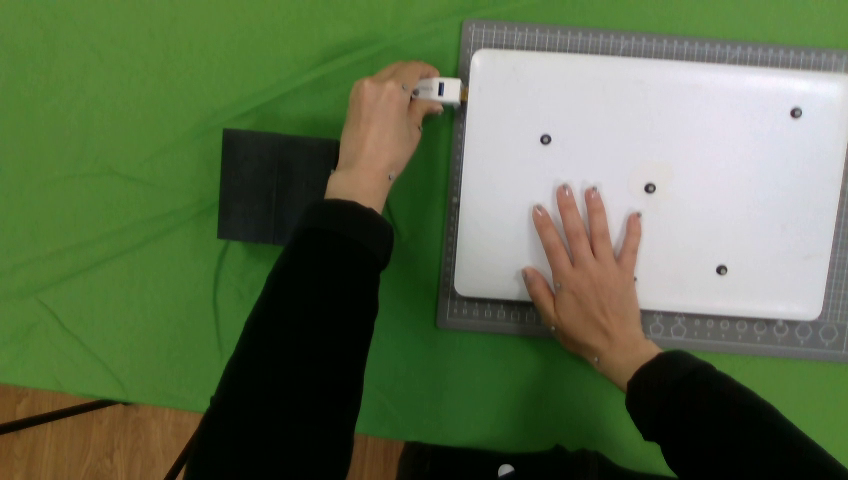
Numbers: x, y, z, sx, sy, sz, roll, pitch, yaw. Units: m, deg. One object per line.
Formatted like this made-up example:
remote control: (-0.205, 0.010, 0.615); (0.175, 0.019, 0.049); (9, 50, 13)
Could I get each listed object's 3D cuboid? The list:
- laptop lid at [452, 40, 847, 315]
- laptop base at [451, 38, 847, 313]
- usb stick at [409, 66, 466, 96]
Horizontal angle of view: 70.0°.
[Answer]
laptop lid: (0.208, -0.055, 0.565); (0.357, 0.013, 0.242); (6, 99, 0)
laptop base: (0.208, -0.058, 0.575); (0.354, 0.023, 0.236); (4, 99, 0)
usb stick: (0.017, -0.146, 0.558); (0.059, 0.027, 0.021); (6, 98, 1)
